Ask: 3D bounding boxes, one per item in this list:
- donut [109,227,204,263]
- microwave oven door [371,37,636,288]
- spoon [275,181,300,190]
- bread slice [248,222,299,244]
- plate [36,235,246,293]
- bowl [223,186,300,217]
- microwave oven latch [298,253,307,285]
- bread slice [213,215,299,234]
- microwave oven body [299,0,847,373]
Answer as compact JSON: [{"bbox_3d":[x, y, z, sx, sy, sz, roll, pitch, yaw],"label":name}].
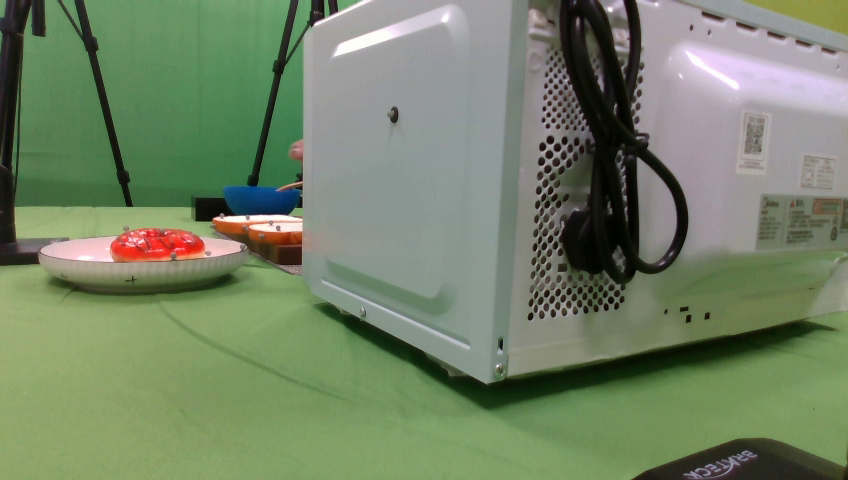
[{"bbox_3d":[-0.298,0.012,0.679,0.099,0.048,0.099,4,10,0],"label":"donut"},{"bbox_3d":[0.109,-0.080,0.687,0.358,0.243,0.039,-2,9,-33],"label":"microwave oven door"},{"bbox_3d":[-0.301,-0.101,1.260,0.041,0.021,0.194,12,30,33],"label":"spoon"},{"bbox_3d":[-0.173,-0.011,0.844,0.135,0.018,0.106,-6,10,-44],"label":"bread slice"},{"bbox_3d":[-0.305,0.026,0.668,0.208,0.039,0.207,2,7,0],"label":"plate"},{"bbox_3d":[-0.330,-0.068,1.230,0.151,0.077,0.151,3,7,0],"label":"bowl"},{"bbox_3d":[-0.081,0.027,0.582,0.079,0.029,0.030,-1,7,-32],"label":"microwave oven latch"},{"bbox_3d":[-0.256,-0.026,0.936,0.132,0.019,0.104,-5,9,-40],"label":"bread slice"},{"bbox_3d":[0.151,-0.055,0.543,0.444,0.260,0.324,-2,7,-33],"label":"microwave oven body"}]
